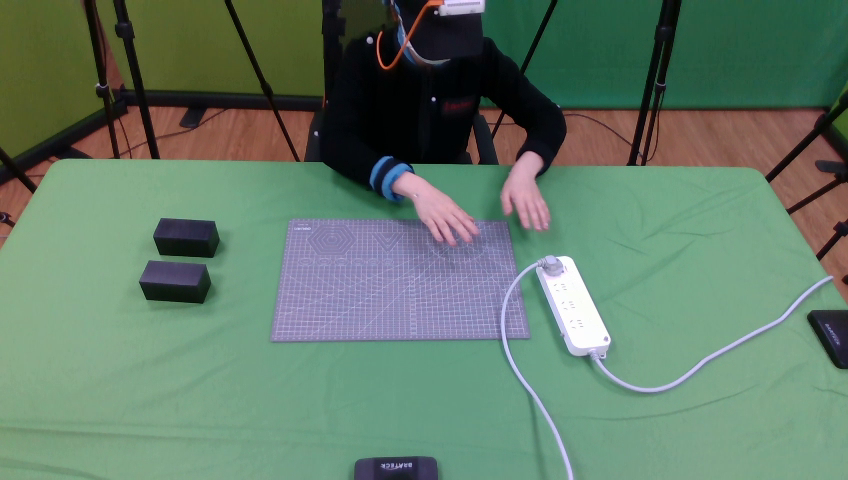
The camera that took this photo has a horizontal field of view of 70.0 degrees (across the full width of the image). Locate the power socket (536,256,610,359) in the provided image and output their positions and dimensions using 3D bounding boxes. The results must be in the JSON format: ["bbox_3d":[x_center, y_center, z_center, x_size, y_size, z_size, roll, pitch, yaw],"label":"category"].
[{"bbox_3d":[0.266,0.114,1.097,0.072,0.033,0.225,-6,47,-9],"label":"power socket"}]

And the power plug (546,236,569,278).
[{"bbox_3d":[0.244,0.033,1.107,0.035,0.073,0.052,6,35,11],"label":"power plug"}]
